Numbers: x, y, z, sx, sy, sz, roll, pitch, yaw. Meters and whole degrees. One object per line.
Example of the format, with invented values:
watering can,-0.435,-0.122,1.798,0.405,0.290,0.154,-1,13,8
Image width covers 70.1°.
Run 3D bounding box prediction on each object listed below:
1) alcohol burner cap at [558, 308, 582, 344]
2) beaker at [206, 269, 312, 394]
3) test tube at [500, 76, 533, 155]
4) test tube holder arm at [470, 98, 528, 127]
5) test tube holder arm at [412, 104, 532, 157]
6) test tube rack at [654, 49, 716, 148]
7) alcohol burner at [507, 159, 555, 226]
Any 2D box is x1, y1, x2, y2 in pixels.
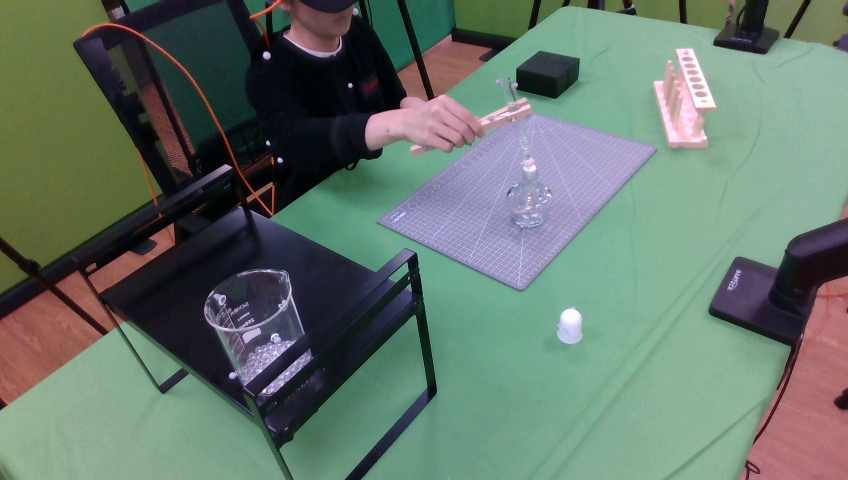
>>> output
alcohol burner cap,0.194,0.111,0.802,0.034,0.048,0.033,-4,39,4
beaker,-0.146,0.086,0.560,0.073,0.101,0.084,19,47,28
test tube,0.134,-0.174,0.864,0.017,0.151,0.017,-12,52,16
test tube holder arm,0.107,-0.176,0.858,0.088,0.015,0.010,-26,47,1
test tube holder arm,0.067,-0.155,0.858,0.178,0.015,0.013,-21,46,6
test tube rack,0.502,-0.280,1.176,0.066,0.085,0.241,2,41,11
alcohol burner,0.172,-0.081,0.969,0.078,0.119,0.077,-3,42,4
